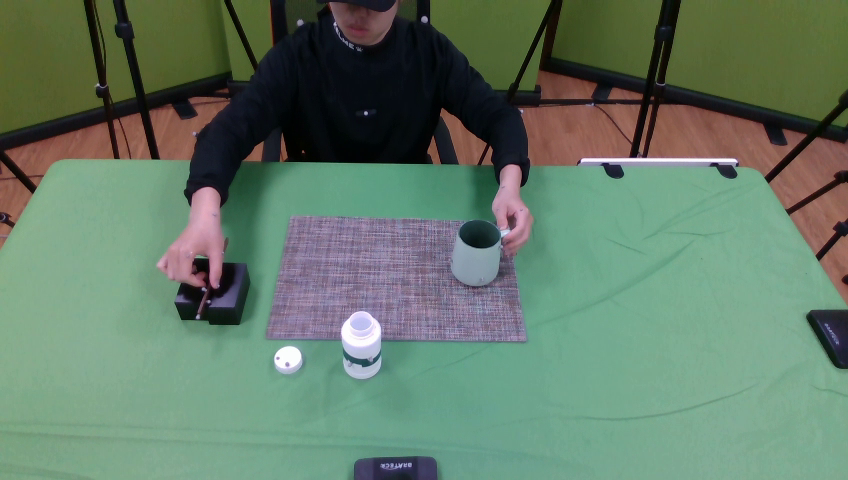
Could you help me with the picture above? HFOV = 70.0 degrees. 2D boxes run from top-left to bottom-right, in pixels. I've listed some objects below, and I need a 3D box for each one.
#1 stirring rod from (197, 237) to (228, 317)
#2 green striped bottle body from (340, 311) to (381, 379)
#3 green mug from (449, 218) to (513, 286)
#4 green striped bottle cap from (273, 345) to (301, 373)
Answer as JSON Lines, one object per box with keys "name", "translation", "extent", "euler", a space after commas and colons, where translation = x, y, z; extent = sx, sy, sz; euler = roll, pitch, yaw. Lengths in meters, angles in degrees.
{"name": "stirring rod", "translation": [-0.363, 0.060, 1.047], "extent": [0.006, 0.014, 0.175], "euler": [7, 46, -3]}
{"name": "green striped bottle body", "translation": [-0.101, 0.165, 0.964], "extent": [0.063, 0.120, 0.063], "euler": [2, 46, -2]}
{"name": "green mug", "translation": [0.110, 0.019, 1.126], "extent": [0.125, 0.105, 0.092], "euler": [-19, 50, -22]}
{"name": "green striped bottle cap", "translation": [-0.225, 0.195, 0.997], "extent": [0.044, 0.020, 0.044], "euler": [3, 50, -3]}
